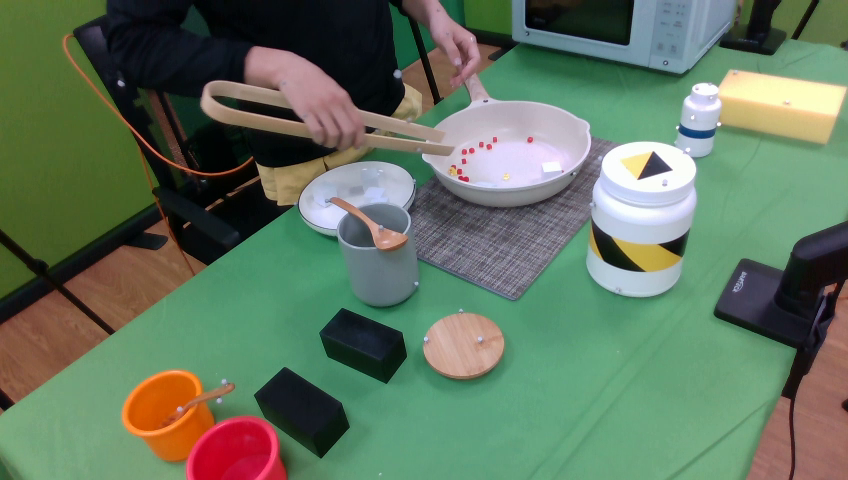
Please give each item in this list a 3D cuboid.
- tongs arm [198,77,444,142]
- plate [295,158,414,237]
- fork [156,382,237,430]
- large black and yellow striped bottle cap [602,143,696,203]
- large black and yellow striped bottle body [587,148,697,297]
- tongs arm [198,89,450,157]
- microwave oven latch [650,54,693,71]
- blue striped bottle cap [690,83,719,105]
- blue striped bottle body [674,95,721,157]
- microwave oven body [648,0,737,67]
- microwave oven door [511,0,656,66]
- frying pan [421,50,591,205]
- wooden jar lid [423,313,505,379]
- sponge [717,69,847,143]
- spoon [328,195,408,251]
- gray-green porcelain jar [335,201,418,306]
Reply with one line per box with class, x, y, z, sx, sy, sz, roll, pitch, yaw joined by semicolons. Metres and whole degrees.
tongs arm;-0.133;-0.183;0.903;0.388;0.026;0.050;9;51;-29
plate;-0.118;-0.070;1.055;0.207;0.039;0.206;-5;40;5
fork;-0.262;0.189;0.690;0.018;0.206;0.028;49;43;-7
large black and yellow striped bottle cap;0.289;-0.088;0.779;0.115;0.019;0.114;-5;39;4
large black and yellow striped bottle body;0.298;-0.026;0.835;0.131;0.185;0.130;-4;41;4
tongs arm;-0.127;-0.162;0.890;0.391;0.027;0.028;6;56;-32
microwave oven latch;0.531;-0.386;1.301;0.078;0.029;0.030;26;51;33
blue striped bottle cap;0.481;-0.251;1.038;0.044;0.021;0.044;-5;39;5
blue striped bottle body;0.486;-0.213;1.071;0.063;0.121;0.063;-4;41;4
microwave oven body;0.475;-0.602;1.411;0.438;0.261;0.327;23;50;32
microwave oven door;0.350;-0.539;1.349;0.353;0.245;0.039;24;50;31
frying pan;0.127;-0.233;1.155;0.307;0.103;0.484;-10;49;-5
wooden jar lid;0.053;0.142;0.800;0.108;0.021;0.108;-5;39;4
sponge;0.663;-0.256;1.142;0.205;0.061;0.118;19;47;28
spoon;-0.083;-0.029;0.829;0.042;0.022;0.192;-31;42;-22
gray-green porcelain jar;-0.064;0.024;0.872;0.106;0.127;0.105;-4;41;4
